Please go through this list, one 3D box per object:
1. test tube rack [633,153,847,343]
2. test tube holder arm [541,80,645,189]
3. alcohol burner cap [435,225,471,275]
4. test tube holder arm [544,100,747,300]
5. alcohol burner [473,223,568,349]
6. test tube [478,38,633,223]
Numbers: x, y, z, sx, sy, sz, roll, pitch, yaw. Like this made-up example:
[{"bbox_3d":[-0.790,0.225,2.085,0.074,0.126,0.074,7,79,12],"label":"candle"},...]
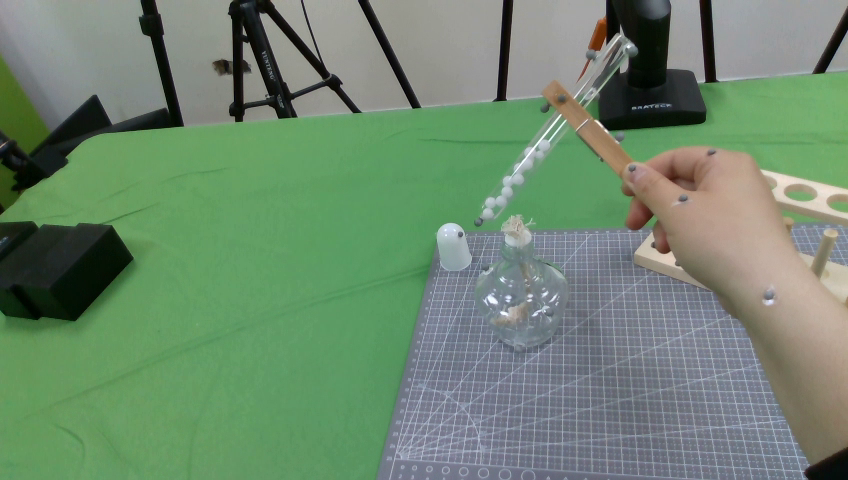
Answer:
[{"bbox_3d":[0.292,0.011,0.471,0.240,0.086,0.066,23,51,36],"label":"test tube rack"},{"bbox_3d":[0.110,-0.069,0.398,0.015,0.010,0.087,-42,81,15],"label":"test tube holder arm"},{"bbox_3d":[0.027,0.006,0.586,0.034,0.048,0.033,-7,40,6],"label":"alcohol burner cap"},{"bbox_3d":[0.139,-0.035,0.392,0.015,0.013,0.177,-42,72,15],"label":"test tube holder arm"},{"bbox_3d":[0.076,0.032,0.484,0.078,0.120,0.077,-7,41,6],"label":"alcohol burner"},{"bbox_3d":[0.086,-0.071,0.413,0.150,0.017,0.017,-52,38,17],"label":"test tube"}]
